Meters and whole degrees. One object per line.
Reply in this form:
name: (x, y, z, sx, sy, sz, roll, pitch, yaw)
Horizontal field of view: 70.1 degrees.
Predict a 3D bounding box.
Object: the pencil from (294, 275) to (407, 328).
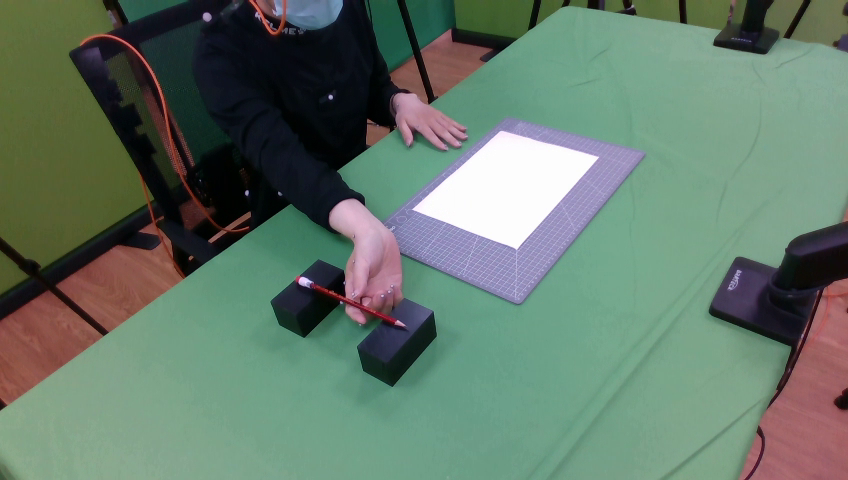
pencil: (-0.102, 0.083, 0.820, 0.192, 0.012, 0.012, 20, 47, 26)
